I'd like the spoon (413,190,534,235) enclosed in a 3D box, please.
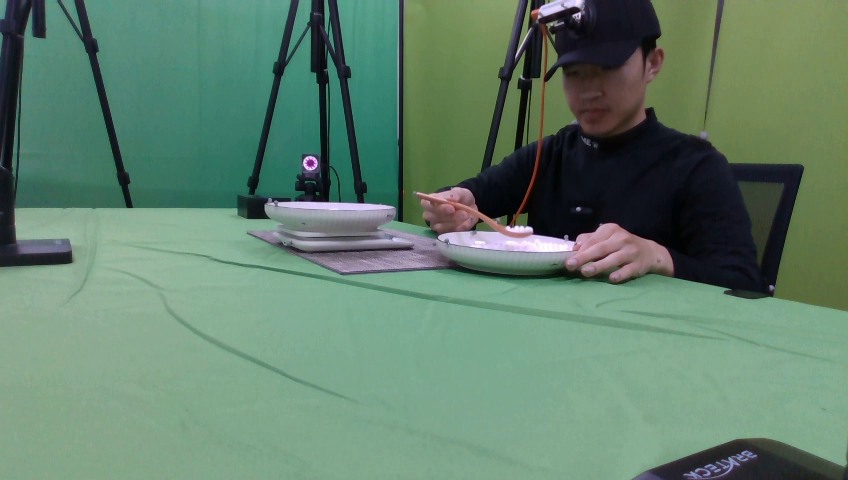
[{"bbox_3d":[0.072,-0.044,0.914,0.193,0.021,0.042,24,13,14],"label":"spoon"}]

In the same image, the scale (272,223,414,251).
[{"bbox_3d":[-0.131,-0.008,0.983,0.202,0.031,0.148,-2,8,-32],"label":"scale"}]

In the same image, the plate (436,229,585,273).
[{"bbox_3d":[0.121,0.015,0.855,0.209,0.038,0.209,3,7,0],"label":"plate"}]

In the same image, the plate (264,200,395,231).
[{"bbox_3d":[-0.150,-0.040,0.972,0.208,0.039,0.207,2,7,0],"label":"plate"}]
